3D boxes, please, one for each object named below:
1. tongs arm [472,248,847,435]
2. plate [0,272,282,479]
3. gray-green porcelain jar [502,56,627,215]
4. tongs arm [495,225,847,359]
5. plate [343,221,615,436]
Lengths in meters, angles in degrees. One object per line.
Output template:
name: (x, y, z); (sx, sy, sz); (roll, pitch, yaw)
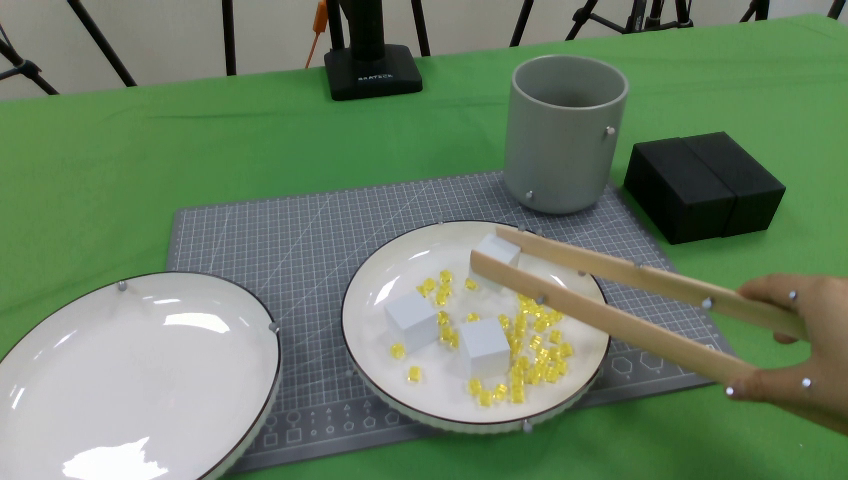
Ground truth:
tongs arm: (0.191, 0.073, 0.376); (0.384, 0.028, 0.028); (21, 46, 32)
plate: (-0.204, 0.109, 0.434); (0.209, 0.038, 0.207); (-1, 43, 2)
gray-green porcelain jar: (0.131, -0.097, 0.589); (0.106, 0.127, 0.105); (0, 42, 1)
tongs arm: (0.205, 0.059, 0.389); (0.382, 0.027, 0.050); (17, 47, 30)
plate: (0.042, 0.065, 0.479); (0.208, 0.039, 0.205); (0, 42, 1)
